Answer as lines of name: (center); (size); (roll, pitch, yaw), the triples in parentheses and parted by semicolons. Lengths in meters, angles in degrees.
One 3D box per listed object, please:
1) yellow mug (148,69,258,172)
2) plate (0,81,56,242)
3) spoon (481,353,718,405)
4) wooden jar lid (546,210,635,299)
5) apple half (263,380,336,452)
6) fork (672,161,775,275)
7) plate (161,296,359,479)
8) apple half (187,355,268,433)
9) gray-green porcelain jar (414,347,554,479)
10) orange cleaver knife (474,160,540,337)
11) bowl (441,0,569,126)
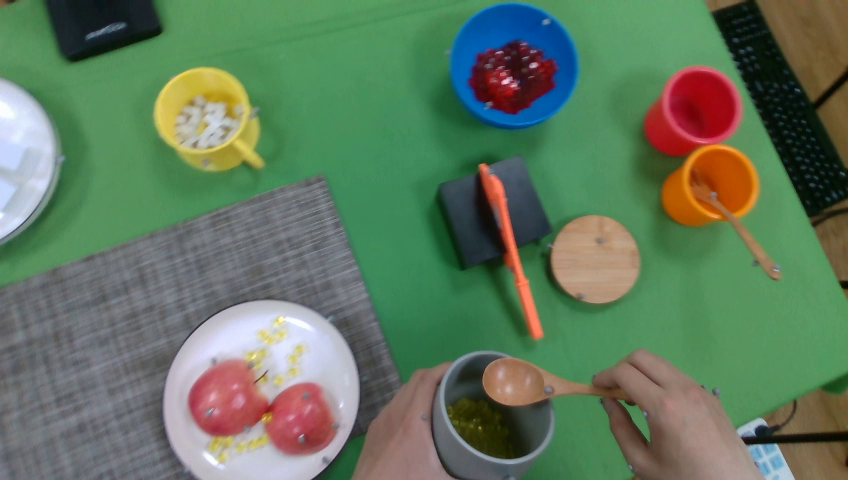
yellow mug: (-0.243, -0.126, 0.698); (0.131, 0.064, 0.100); (39, 79, 1)
plate: (-0.519, -0.084, 0.681); (0.208, 0.039, 0.207); (1, 81, -5)
spoon: (0.145, 0.124, 0.513); (0.193, 0.022, 0.041); (3, 68, 16)
wooden jar lid: (0.201, 0.019, 0.735); (0.108, 0.021, 0.108); (1, 81, -3)
apple half: (-0.138, 0.194, 0.657); (0.081, 0.033, 0.081); (1, 77, -3)
fork: (0.337, -0.031, 0.689); (0.028, 0.019, 0.205); (-5, 37, -6)
plate: (-0.176, 0.166, 0.665); (0.209, 0.038, 0.208); (1, 81, -5)
apple half: (-0.214, 0.166, 0.647); (0.075, 0.053, 0.080); (-24, 84, -6)
gray-green porcelain jar: (0.050, 0.177, 0.570); (0.106, 0.127, 0.105); (9, 48, -10)
orange cleaver knife: (0.094, 0.011, 0.696); (0.012, 0.076, 0.212); (-20, 107, -5)
bowl: (0.091, -0.200, 0.732); (0.151, 0.077, 0.151); (1, 81, -5)
